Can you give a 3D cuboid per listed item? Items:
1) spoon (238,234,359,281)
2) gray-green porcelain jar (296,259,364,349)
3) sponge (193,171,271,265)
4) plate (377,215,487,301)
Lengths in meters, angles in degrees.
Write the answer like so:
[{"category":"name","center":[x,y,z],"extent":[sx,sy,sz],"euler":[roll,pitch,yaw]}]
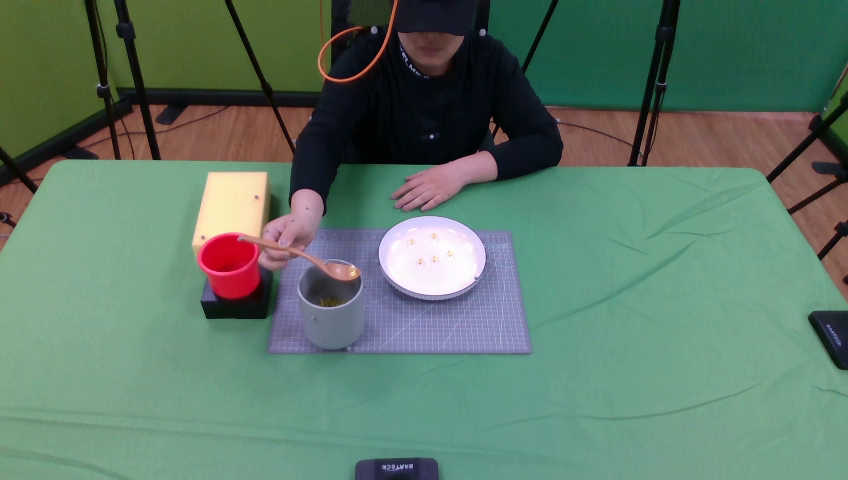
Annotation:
[{"category":"spoon","center":[-0.194,0.024,0.946],"extent":[0.194,0.022,0.041],"euler":[23,34,-11]},{"category":"gray-green porcelain jar","center":[-0.152,0.111,1.003],"extent":[0.106,0.127,0.105],"euler":[2,46,-2]},{"category":"sponge","center":[-0.371,-0.047,1.189],"extent":[0.118,0.061,0.205],"euler":[-3,47,-6]},{"category":"plate","center":[0.015,0.037,1.148],"extent":[0.208,0.039,0.206],"euler":[2,46,-2]}]
